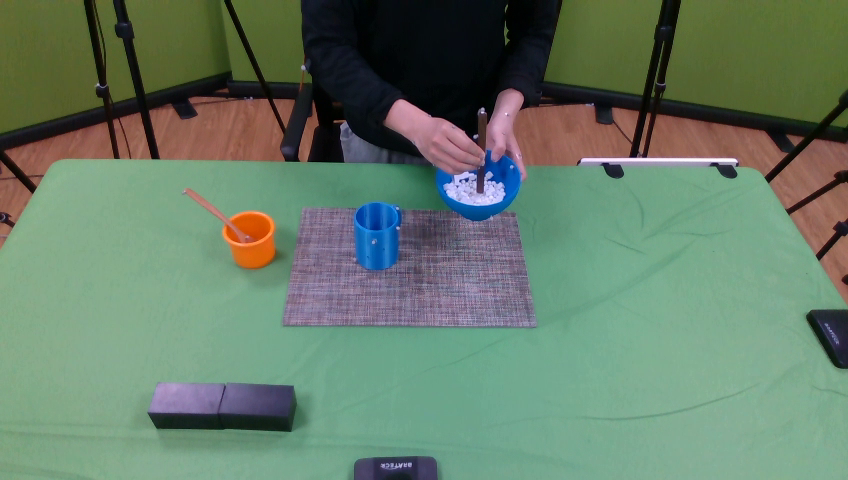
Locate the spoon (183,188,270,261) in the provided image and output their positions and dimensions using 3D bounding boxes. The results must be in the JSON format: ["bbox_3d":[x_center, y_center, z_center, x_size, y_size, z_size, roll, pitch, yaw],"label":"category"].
[{"bbox_3d":[-0.360,-0.029,1.110,0.021,0.194,0.041,-21,31,41],"label":"spoon"}]

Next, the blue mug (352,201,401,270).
[{"bbox_3d":[-0.082,-0.017,1.144,0.082,0.106,0.116,30,51,22],"label":"blue mug"}]

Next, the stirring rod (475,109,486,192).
[{"bbox_3d":[0.094,-0.143,1.006,0.014,0.177,0.006,10,50,12],"label":"stirring rod"}]

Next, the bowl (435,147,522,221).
[{"bbox_3d":[0.094,-0.087,1.082,0.151,0.077,0.150,-1,49,2],"label":"bowl"}]
